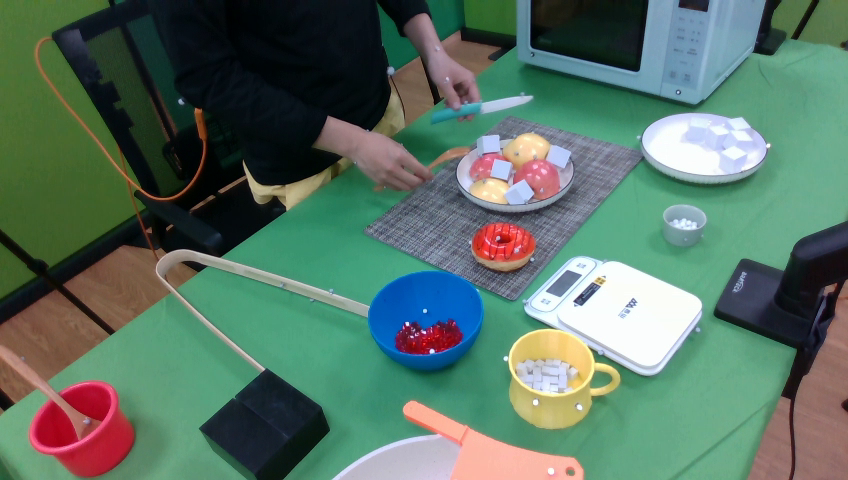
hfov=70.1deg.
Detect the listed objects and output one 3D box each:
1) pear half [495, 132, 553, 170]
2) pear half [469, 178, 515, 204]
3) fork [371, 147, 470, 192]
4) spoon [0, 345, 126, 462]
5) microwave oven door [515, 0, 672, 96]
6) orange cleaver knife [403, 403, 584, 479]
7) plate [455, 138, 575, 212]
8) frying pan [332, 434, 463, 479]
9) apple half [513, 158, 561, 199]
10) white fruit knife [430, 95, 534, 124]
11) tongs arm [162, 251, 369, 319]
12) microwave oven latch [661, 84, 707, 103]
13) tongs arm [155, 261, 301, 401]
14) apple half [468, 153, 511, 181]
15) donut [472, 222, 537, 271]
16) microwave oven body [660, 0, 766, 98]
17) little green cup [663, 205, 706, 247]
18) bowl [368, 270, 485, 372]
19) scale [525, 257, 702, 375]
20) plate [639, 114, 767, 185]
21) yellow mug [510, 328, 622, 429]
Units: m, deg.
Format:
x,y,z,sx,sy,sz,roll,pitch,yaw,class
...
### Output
x,y,z,sx,sy,sz,roll,pitch,yaw,class
0.174,-0.167,1.094,0.109,0.056,0.076,15,53,30,pear half
0.115,-0.090,1.036,0.087,0.031,0.071,28,38,32,pear half
-0.010,-0.119,1.033,0.206,0.019,0.028,-22,34,32,fork
-0.434,0.192,0.720,0.194,0.021,0.042,47,53,-7,spoon
0.343,-0.454,1.259,0.353,0.245,0.039,26,51,33,microwave oven door
0.062,0.223,0.610,0.210,0.012,0.077,15,47,25,orange cleaver knife
0.159,-0.111,1.063,0.209,0.038,0.208,-4,40,4,plate
-0.089,0.306,0.564,0.487,0.103,0.306,10,41,7,frying pan
0.193,-0.111,1.031,0.080,0.053,0.075,11,41,26,apple half
0.102,-0.244,1.116,0.206,0.027,0.016,-7,45,25,white fruit knife
-0.247,0.073,0.917,0.382,0.026,0.051,15,48,26,tongs arm
0.517,-0.296,1.204,0.078,0.029,0.030,26,51,34,microwave oven latch
-0.294,0.122,0.868,0.384,0.028,0.028,28,58,36,tongs arm
0.119,-0.138,1.087,0.081,0.033,0.081,-1,44,1,apple half
0.123,0.008,0.923,0.099,0.048,0.098,-3,38,3,donut
0.472,-0.513,1.317,0.438,0.261,0.327,26,51,34,microwave oven body
0.396,-0.020,0.926,0.061,0.039,0.061,-4,40,4,little green cup
0.007,0.118,0.791,0.151,0.077,0.150,-5,40,4,bowl
0.254,0.091,0.821,0.199,0.032,0.149,28,51,35,scale
0.489,-0.157,1.074,0.207,0.039,0.206,-4,40,4,plate
0.168,0.164,0.721,0.130,0.064,0.099,0,40,8,yellow mug
